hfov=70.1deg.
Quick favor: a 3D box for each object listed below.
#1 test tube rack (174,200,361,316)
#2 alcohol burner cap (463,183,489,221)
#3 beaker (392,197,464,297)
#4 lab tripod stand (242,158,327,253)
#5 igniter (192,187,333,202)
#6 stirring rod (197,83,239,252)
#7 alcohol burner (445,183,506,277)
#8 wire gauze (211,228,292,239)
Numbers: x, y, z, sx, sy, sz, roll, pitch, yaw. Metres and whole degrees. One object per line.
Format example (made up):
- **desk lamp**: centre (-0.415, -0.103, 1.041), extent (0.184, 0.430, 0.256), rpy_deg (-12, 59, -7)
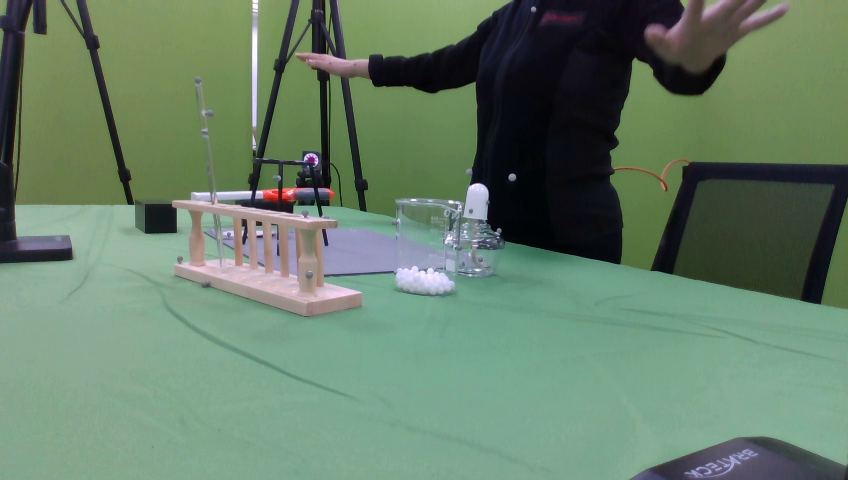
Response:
- **test tube rack**: centre (-0.169, 0.009, 0.622), extent (0.241, 0.085, 0.067), rpy_deg (9, 9, 41)
- **alcohol burner cap**: centre (0.067, -0.049, 0.765), extent (0.034, 0.048, 0.034), rpy_deg (5, 4, 0)
- **beaker**: centre (0.005, 0.007, 0.647), extent (0.074, 0.100, 0.083), rpy_deg (-5, 11, -44)
- **lab tripod stand**: centre (-0.207, -0.054, 0.895), extent (0.148, 0.131, 0.148), rpy_deg (2, 5, 0)
- **igniter**: centre (-0.316, -0.090, 1.213), extent (0.278, 0.025, 0.057), rpy_deg (-5, 13, -31)
- **stirring rod**: centre (-0.212, -0.072, 0.625), extent (0.006, 0.176, 0.014), rpy_deg (-14, 12, -22)
- **alcohol burner**: centre (0.066, -0.013, 0.771), extent (0.078, 0.119, 0.078), rpy_deg (0, 7, 0)
- **wire gauze**: centre (-0.298, -0.013, 1.039), extent (0.122, 0.011, 0.124), rpy_deg (-2, 6, -27)
